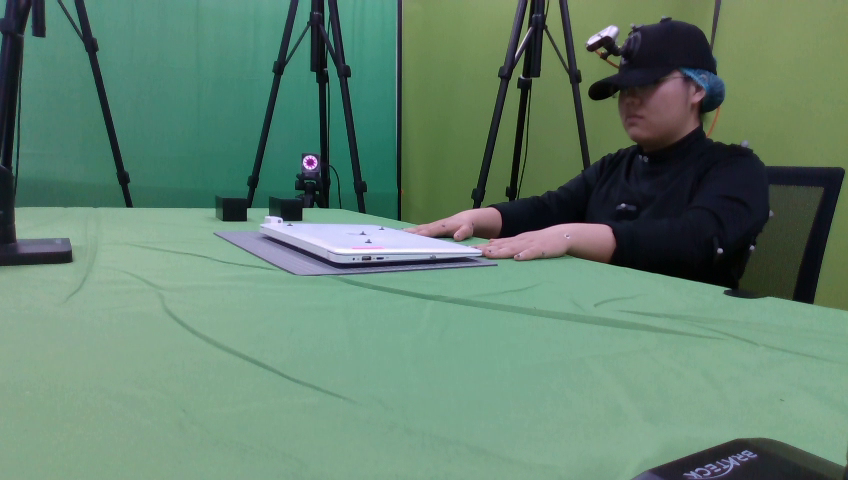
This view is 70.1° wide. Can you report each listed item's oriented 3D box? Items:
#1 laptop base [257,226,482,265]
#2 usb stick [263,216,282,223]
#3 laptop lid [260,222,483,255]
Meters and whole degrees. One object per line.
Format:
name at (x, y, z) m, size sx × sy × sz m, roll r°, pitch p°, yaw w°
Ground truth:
laptop base at (-0.102, 0.007, 0.962) m, size 0.237 × 0.023 × 0.352 m, roll 2°, pitch 6°, yaw -32°
usb stick at (-0.269, -0.028, 1.081) m, size 0.021 × 0.027 × 0.059 m, roll -3°, pitch 11°, yaw -30°
laptop lid at (-0.099, -0.005, 0.962) m, size 0.243 × 0.013 × 0.355 m, roll 1°, pitch 7°, yaw -30°
